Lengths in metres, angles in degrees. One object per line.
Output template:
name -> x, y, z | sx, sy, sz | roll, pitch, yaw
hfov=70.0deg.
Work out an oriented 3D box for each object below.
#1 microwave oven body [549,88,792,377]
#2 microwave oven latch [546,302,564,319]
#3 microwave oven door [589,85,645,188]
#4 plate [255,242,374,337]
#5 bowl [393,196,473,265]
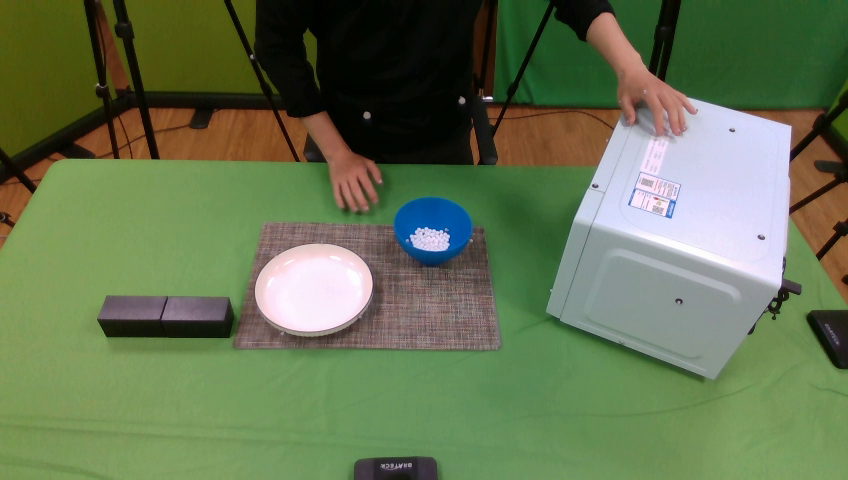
microwave oven body -> 0.456, -0.028, 1.088 | 0.325, 0.261, 0.440 | 20, 47, 16
microwave oven latch -> 0.242, 0.102, 1.081 | 0.030, 0.029, 0.079 | 22, 48, 17
microwave oven door -> 0.342, -0.107, 1.149 | 0.039, 0.245, 0.354 | 20, 48, 15
plate -> -0.192, 0.090, 1.079 | 0.208, 0.039, 0.206 | 2, 46, -2
bowl -> 0.014, -0.006, 1.159 | 0.151, 0.077, 0.150 | 2, 46, -2
